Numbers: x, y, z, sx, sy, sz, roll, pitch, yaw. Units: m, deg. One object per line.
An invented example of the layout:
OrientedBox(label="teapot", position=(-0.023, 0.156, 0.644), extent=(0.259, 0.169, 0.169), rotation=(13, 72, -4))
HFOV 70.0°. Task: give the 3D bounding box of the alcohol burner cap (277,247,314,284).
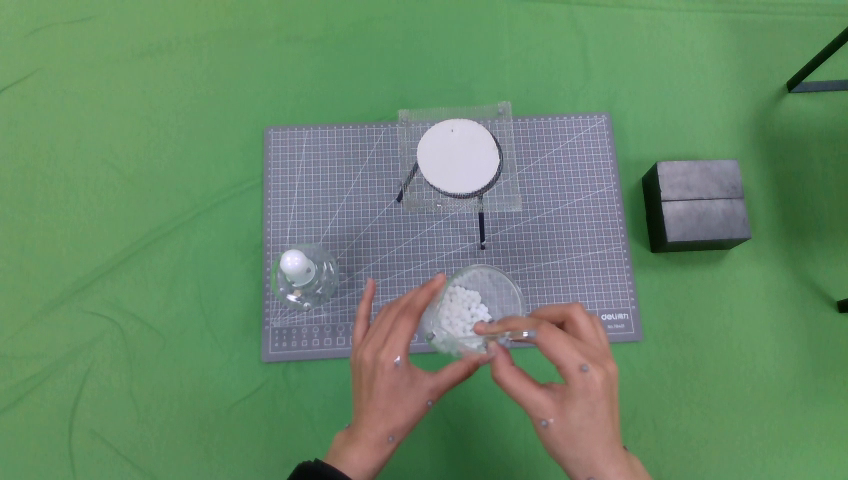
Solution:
OrientedBox(label="alcohol burner cap", position=(-0.137, 0.025, 0.639), extent=(0.034, 0.048, 0.033), rotation=(-1, 70, 3))

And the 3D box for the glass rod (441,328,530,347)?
OrientedBox(label="glass rod", position=(0.042, 0.079, 0.481), extent=(0.008, 0.200, 0.008), rotation=(3, 78, -13))

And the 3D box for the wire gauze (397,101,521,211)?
OrientedBox(label="wire gauze", position=(0.035, -0.087, 0.632), extent=(0.125, 0.011, 0.121), rotation=(-2, 75, -2))

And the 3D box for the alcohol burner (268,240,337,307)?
OrientedBox(label="alcohol burner", position=(-0.138, 0.034, 0.674), extent=(0.078, 0.119, 0.077), rotation=(1, 76, -2))

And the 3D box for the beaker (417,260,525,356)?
OrientedBox(label="beaker", position=(0.034, 0.066, 0.539), extent=(0.084, 0.100, 0.073), rotation=(-15, 80, -16))

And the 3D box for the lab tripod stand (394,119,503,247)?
OrientedBox(label="lab tripod stand", position=(0.037, -0.074, 0.697), extent=(0.148, 0.132, 0.147), rotation=(0, 73, -1))
